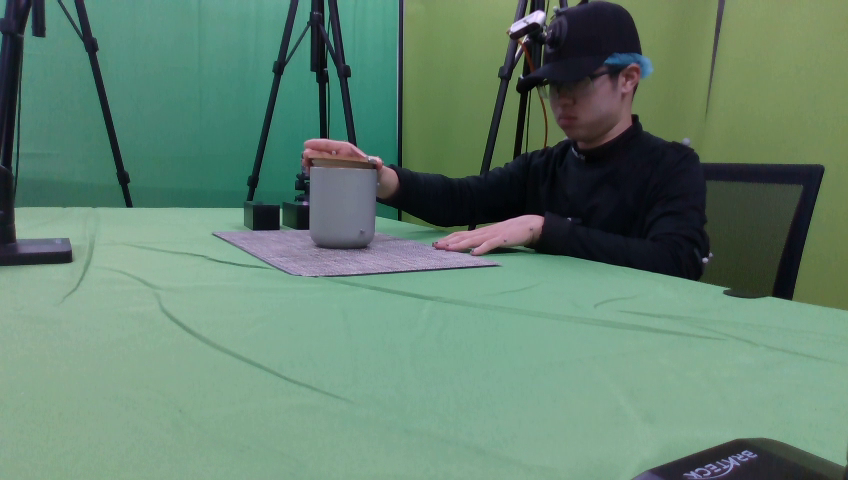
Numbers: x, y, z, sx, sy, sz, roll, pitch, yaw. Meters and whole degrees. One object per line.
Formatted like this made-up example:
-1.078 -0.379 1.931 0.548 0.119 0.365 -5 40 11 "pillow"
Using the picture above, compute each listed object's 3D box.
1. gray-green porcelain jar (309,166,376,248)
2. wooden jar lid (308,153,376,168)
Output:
-0.130 -0.054 0.966 0.106 0.126 0.106 2 7 0 "gray-green porcelain jar"
-0.130 -0.123 0.956 0.108 0.020 0.108 6 4 0 "wooden jar lid"
